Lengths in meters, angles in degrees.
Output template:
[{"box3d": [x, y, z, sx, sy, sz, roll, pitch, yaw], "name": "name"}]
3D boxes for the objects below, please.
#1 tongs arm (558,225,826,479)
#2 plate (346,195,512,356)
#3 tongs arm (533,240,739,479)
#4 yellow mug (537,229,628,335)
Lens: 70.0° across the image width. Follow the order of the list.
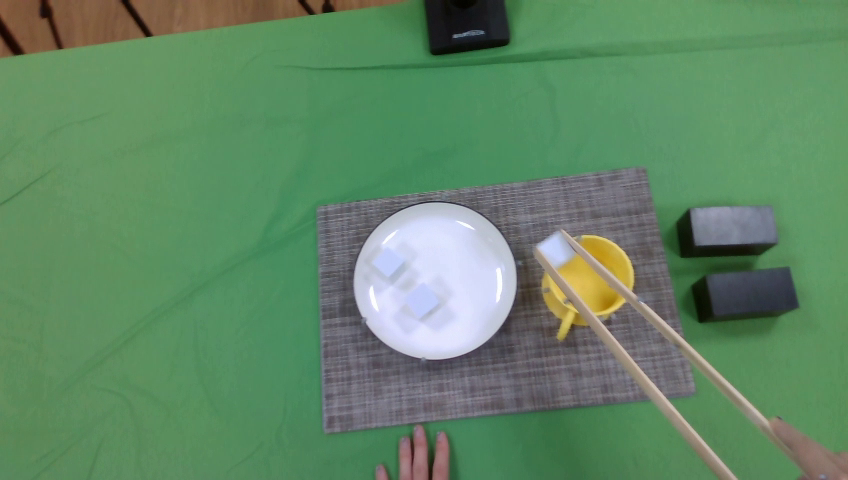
[{"box3d": [0.232, 0.117, 0.547, 0.051, 0.027, 0.380, -34, 53, -10], "name": "tongs arm"}, {"box3d": [0.006, 0.045, 0.772, 0.207, 0.039, 0.206, -1, 73, 4], "name": "plate"}, {"box3d": [0.212, 0.129, 0.544, 0.028, 0.028, 0.383, -28, 52, -10], "name": "tongs arm"}, {"box3d": [0.186, 0.057, 0.740, 0.099, 0.064, 0.130, 24, 76, 11], "name": "yellow mug"}]
